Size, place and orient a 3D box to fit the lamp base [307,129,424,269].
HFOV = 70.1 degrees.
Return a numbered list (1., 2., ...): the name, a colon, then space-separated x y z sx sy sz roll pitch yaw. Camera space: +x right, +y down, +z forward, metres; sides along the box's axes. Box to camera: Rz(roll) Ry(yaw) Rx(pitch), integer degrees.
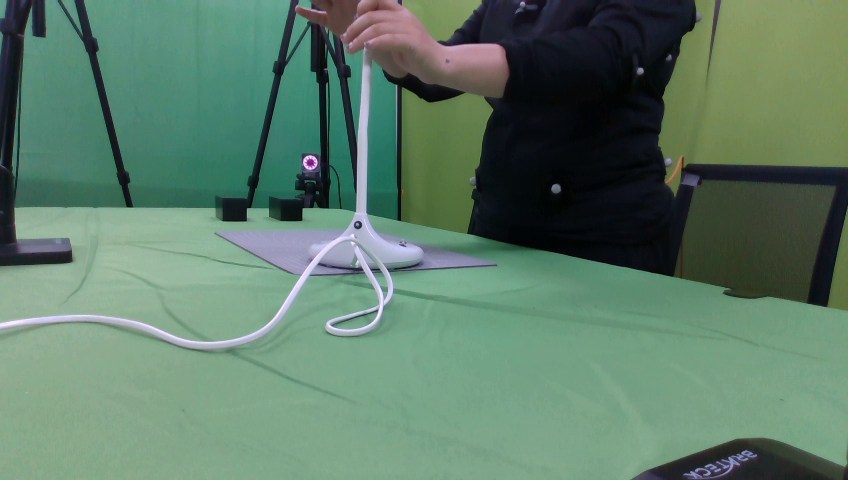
1. lamp base: -0.077 -0.057 0.811 0.161 0.180 0.179 2 10 -4
